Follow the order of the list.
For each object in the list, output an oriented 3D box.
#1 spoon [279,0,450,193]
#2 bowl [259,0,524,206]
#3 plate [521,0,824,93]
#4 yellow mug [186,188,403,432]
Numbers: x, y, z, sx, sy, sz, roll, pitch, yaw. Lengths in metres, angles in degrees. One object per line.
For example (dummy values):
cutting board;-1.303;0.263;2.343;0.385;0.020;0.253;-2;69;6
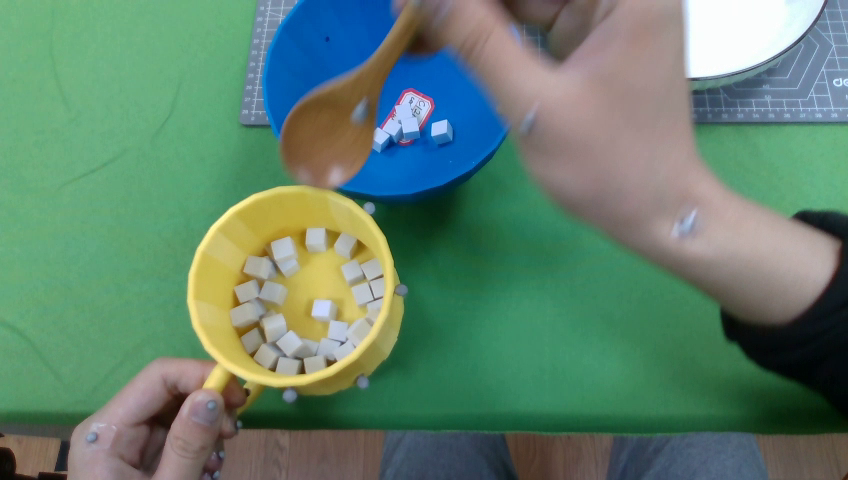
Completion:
spoon;-0.010;-0.073;0.228;0.042;0.194;0.021;30;53;-16
bowl;-0.016;-0.082;0.378;0.151;0.077;0.150;-1;74;4
plate;0.165;-0.187;0.424;0.209;0.038;0.207;-1;70;3
yellow mug;-0.071;0.043;0.316;0.099;0.064;0.130;32;77;11
